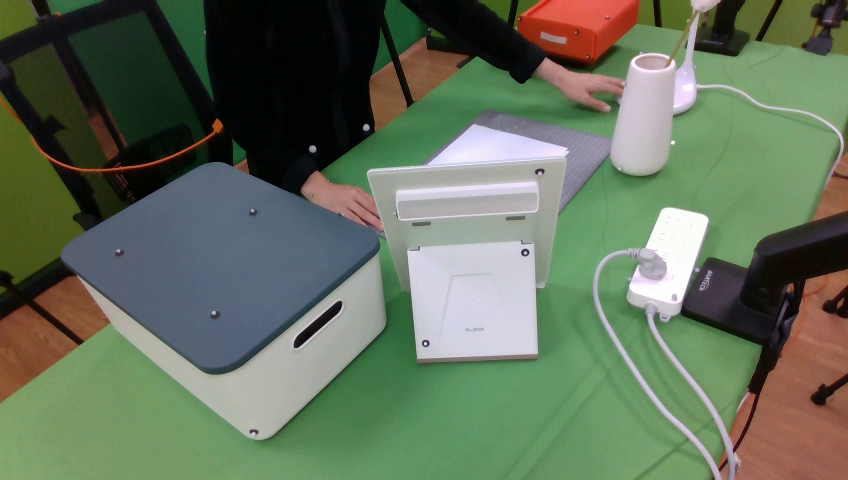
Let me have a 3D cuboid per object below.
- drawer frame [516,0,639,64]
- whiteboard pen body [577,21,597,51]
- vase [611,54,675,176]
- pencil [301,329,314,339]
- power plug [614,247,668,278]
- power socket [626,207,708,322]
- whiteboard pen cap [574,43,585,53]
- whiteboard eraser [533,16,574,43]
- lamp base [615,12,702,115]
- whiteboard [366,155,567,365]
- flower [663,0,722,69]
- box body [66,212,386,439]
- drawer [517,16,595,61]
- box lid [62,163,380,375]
[{"bbox_3d":[0.356,-0.507,1.410,0.200,0.083,0.214,25,51,32],"label":"drawer frame"},{"bbox_3d":[0.372,-0.468,1.390,0.017,0.017,0.141,14,47,23],"label":"whiteboard pen body"},{"bbox_3d":[0.377,-0.209,1.031,0.098,0.201,0.097,-3,40,3],"label":"vase"},{"bbox_3d":[-0.203,0.116,0.877,0.192,0.012,0.012,20,47,39],"label":"pencil"},{"bbox_3d":[0.306,0.031,0.851,0.072,0.053,0.035,24,49,33],"label":"power plug"},{"bbox_3d":[0.359,0.026,0.886,0.072,0.033,0.227,16,46,26],"label":"power socket"},{"bbox_3d":[0.346,-0.430,1.350,0.018,0.018,0.033,16,40,25],"label":"whiteboard pen cap"},{"bbox_3d":[0.305,-0.493,1.422,0.055,0.042,0.113,27,43,25],"label":"whiteboard eraser"},{"bbox_3d":[0.484,-0.363,1.211,0.180,0.181,0.159,-15,41,-13],"label":"lamp base"},{"bbox_3d":[0.059,0.050,0.738,0.217,0.307,0.143,-3,60,5],"label":"whiteboard"},{"bbox_3d":[0.379,-0.261,0.965,0.044,0.362,0.038,21,53,5],"label":"flower"},{"bbox_3d":[-0.257,0.068,0.824,0.361,0.161,0.255,24,49,31],"label":"box body"},{"bbox_3d":[0.352,-0.505,1.404,0.193,0.073,0.212,25,50,33],"label":"drawer"},{"bbox_3d":[-0.263,0.012,0.774,0.368,0.015,0.264,23,49,32],"label":"box lid"}]
